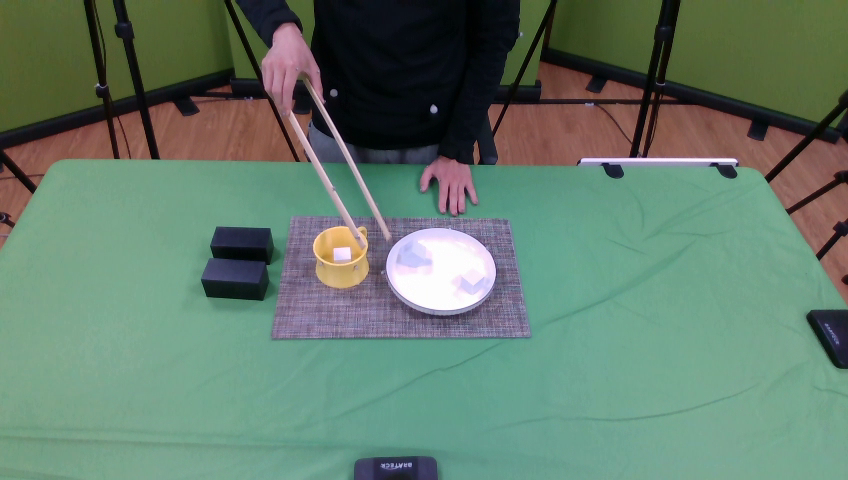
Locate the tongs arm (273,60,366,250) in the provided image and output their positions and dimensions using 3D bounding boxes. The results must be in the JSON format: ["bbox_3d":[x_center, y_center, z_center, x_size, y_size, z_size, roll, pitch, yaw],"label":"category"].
[{"bbox_3d":[-0.184,-0.157,1.089,0.051,0.026,0.383,-27,80,-24],"label":"tongs arm"}]

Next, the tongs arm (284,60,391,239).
[{"bbox_3d":[-0.157,-0.169,1.103,0.028,0.028,0.386,-26,79,-20],"label":"tongs arm"}]

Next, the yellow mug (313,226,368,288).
[{"bbox_3d":[-0.146,0.021,1.132,0.099,0.064,0.130,24,49,19],"label":"yellow mug"}]

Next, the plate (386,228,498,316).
[{"bbox_3d":[0.032,0.062,1.126,0.208,0.039,0.206,2,46,-2],"label":"plate"}]
